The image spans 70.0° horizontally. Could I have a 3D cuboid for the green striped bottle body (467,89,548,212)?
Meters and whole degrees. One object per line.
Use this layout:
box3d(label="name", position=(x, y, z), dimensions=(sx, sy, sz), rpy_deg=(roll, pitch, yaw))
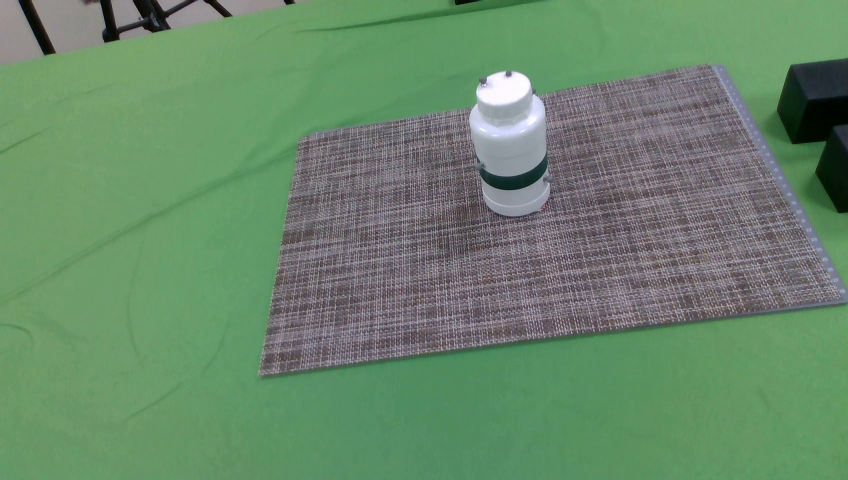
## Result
box3d(label="green striped bottle body", position=(0.072, -0.085, 0.522), dimensions=(0.063, 0.120, 0.062), rpy_deg=(-7, 50, 9))

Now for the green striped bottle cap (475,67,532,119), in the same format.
box3d(label="green striped bottle cap", position=(0.063, -0.117, 0.481), dimensions=(0.044, 0.020, 0.044), rpy_deg=(-9, 50, 11))
